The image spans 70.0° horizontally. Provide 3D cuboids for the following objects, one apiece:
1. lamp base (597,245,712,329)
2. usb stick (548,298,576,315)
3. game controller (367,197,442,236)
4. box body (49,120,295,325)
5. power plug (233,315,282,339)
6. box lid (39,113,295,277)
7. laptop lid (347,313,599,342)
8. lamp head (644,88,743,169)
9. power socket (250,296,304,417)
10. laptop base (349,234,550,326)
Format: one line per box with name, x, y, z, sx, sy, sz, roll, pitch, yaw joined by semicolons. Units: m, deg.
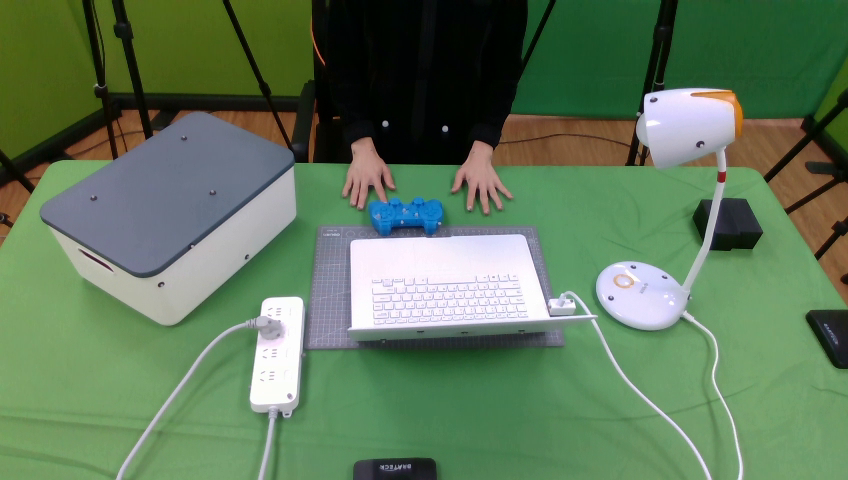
lamp base;0.418;0.051;1.071;0.179;0.181;0.160;22;49;13
usb stick;0.240;0.119;1.086;0.059;0.027;0.021;-2;52;-2
game controller;-0.037;-0.057;1.231;0.155;0.052;0.096;-2;49;-5
box body;-0.437;-0.046;1.110;0.253;0.161;0.363;24;49;18
power plug;-0.271;0.144;0.999;0.072;0.053;0.035;6;47;3
box lid;-0.435;-0.096;1.056;0.262;0.015;0.370;25;48;18
laptop lid;0.062;0.138;0.932;0.357;0.242;0.013;-2;77;-8
lamp head;0.380;-0.161;0.851;0.122;0.113;0.112;-4;42;25
power socket;-0.239;0.182;0.996;0.072;0.033;0.225;-2;47;-5
laptop base;0.040;0.081;1.125;0.355;0.023;0.234;-2;43;-6
